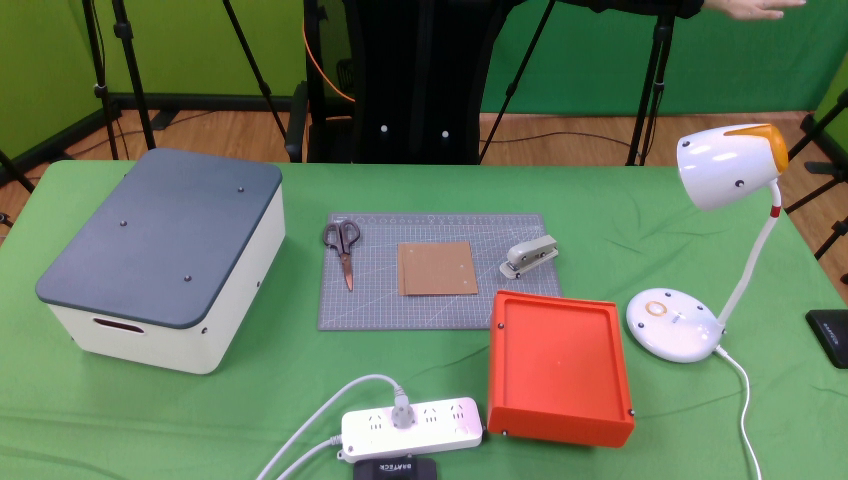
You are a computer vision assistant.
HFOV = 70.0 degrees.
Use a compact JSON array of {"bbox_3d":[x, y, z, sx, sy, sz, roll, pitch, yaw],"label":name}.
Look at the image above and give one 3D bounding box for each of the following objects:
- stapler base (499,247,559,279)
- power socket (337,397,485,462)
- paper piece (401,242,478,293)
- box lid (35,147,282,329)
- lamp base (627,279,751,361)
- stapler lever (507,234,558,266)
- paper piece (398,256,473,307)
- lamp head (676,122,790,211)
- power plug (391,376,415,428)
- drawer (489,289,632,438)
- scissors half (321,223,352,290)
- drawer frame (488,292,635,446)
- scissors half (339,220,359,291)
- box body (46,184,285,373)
[{"bbox_3d":[0.206,0.033,1.178,0.130,0.024,0.041,-24,56,-27],"label":"stapler base"},{"bbox_3d":[-0.018,0.285,0.915,0.227,0.033,0.071,-4,46,-8],"label":"power socket"},{"bbox_3d":[0.028,0.051,1.156,0.136,0.009,0.137,2,44,-9],"label":"paper piece"},{"bbox_3d":[-0.411,-0.023,0.987,0.263,0.015,0.369,10,47,5],"label":"box lid"},{"bbox_3d":[0.460,0.100,1.027,0.178,0.181,0.160,27,51,17],"label":"lamp base"},{"bbox_3d":[0.209,0.015,1.161,0.118,0.040,0.026,-25,56,-27],"label":"stapler lever"},{"bbox_3d":[0.025,0.065,1.156,0.135,0.004,0.135,12,44,-2],"label":"paper piece"},{"bbox_3d":[0.423,-0.104,0.819,0.122,0.113,0.112,-13,33,40],"label":"lamp head"},{"bbox_3d":[-0.031,0.249,0.917,0.035,0.053,0.072,3,46,-1],"label":"power plug"},{"bbox_3d":[0.203,0.185,0.934,0.194,0.073,0.210,7,47,1],"label":"drawer"},{"bbox_3d":[-0.163,0.030,1.159,0.040,0.013,0.174,-16,50,-14],"label":"scissors half"},{"bbox_3d":[0.204,0.191,0.931,0.202,0.083,0.212,7,45,2],"label":"drawer frame"},{"bbox_3d":[-0.144,0.026,1.162,0.040,0.013,0.174,-7,50,1],"label":"scissors half"},{"bbox_3d":[-0.414,0.029,1.040,0.254,0.161,0.362,10,46,5],"label":"box body"}]
